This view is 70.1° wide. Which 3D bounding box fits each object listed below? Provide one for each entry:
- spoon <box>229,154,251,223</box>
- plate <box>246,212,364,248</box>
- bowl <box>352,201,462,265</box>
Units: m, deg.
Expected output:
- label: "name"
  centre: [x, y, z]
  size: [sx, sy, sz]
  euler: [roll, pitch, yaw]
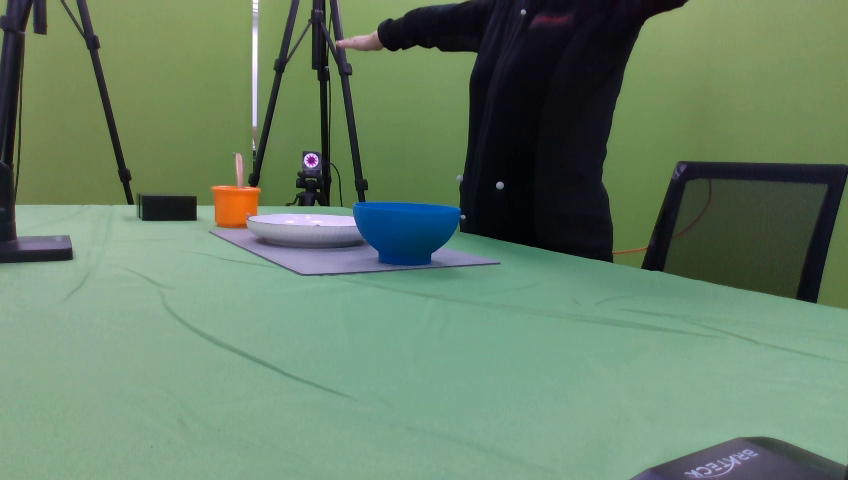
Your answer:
- label: "spoon"
  centre: [-0.367, -0.106, 1.208]
  size: [0.042, 0.193, 0.021]
  euler: [2, -37, -20]
- label: "plate"
  centre: [-0.184, -0.017, 0.995]
  size: [0.209, 0.038, 0.209]
  euler: [3, 8, 0]
- label: "bowl"
  centre: [-0.025, -0.010, 0.831]
  size: [0.151, 0.077, 0.151]
  euler: [3, 7, 0]
